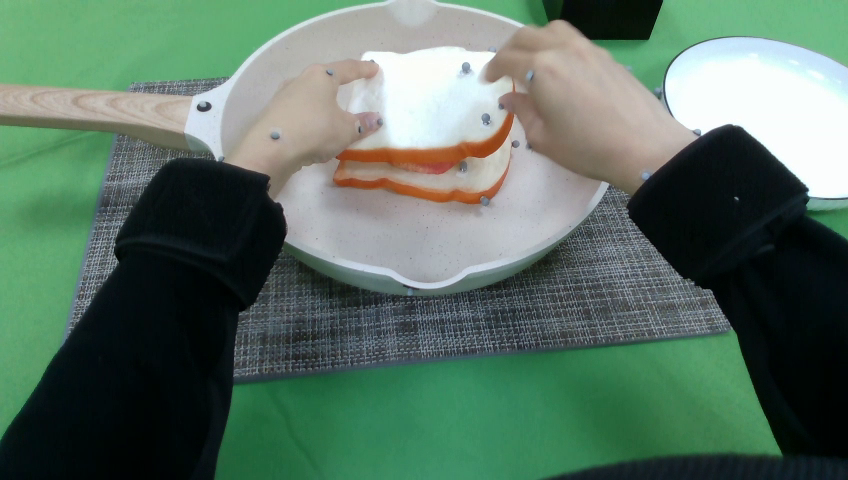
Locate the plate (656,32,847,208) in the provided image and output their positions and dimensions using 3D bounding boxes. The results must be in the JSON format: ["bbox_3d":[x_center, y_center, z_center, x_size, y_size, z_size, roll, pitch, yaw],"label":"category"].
[{"bbox_3d":[0.305,-0.105,0.531,0.208,0.039,0.205,2,54,-2],"label":"plate"}]

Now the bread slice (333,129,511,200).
[{"bbox_3d":[0.003,-0.079,0.497,0.134,0.018,0.106,8,55,3],"label":"bread slice"}]

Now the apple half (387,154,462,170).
[{"bbox_3d":[0.001,-0.092,0.481,0.081,0.033,0.080,0,53,0],"label":"apple half"}]

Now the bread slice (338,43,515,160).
[{"bbox_3d":[0.004,-0.109,0.463,0.131,0.019,0.104,1,63,14],"label":"bread slice"}]

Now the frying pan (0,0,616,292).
[{"bbox_3d":[-0.109,-0.087,0.450,0.489,0.103,0.303,5,52,-9],"label":"frying pan"}]
